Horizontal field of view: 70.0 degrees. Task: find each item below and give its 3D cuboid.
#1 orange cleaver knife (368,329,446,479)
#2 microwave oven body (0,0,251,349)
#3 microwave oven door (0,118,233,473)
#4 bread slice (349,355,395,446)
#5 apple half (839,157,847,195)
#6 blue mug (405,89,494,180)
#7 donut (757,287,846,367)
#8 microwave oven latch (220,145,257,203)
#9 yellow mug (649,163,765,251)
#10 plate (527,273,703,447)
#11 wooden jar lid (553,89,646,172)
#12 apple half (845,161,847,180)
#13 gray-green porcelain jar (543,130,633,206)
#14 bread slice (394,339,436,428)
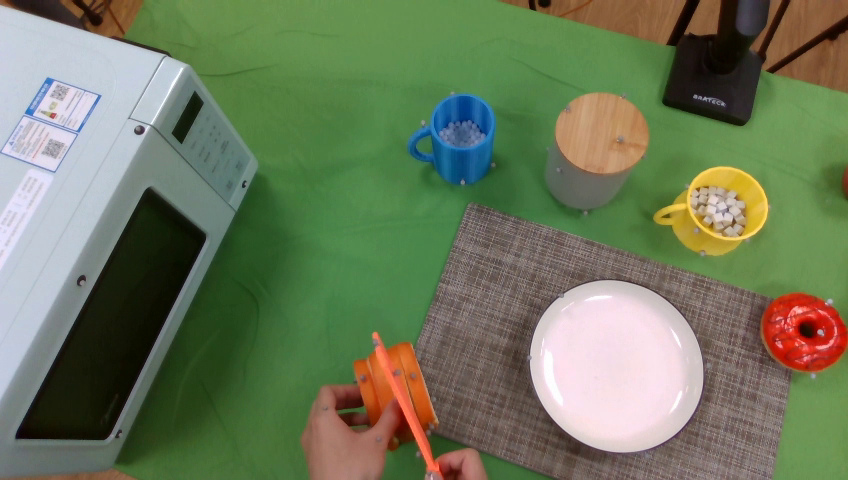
[{"bbox_3d":[-0.007,0.185,0.593,0.012,0.077,0.211,-26,92,-5],"label":"orange cleaver knife"},{"bbox_3d":[-0.461,-0.010,0.704,0.325,0.261,0.440,19,75,8],"label":"microwave oven body"},{"bbox_3d":[-0.341,0.073,0.668,0.039,0.245,0.354,19,74,8],"label":"microwave oven door"},{"bbox_3d":[-0.060,0.181,0.699,0.018,0.135,0.106,-22,71,-8],"label":"bread slice"},{"bbox_3d":[0.561,-0.079,0.781,0.033,0.082,0.080,-12,72,-6],"label":"apple half"},{"bbox_3d":[0.032,-0.136,0.807,0.116,0.106,0.082,-7,72,1],"label":"blue mug"},{"bbox_3d":[0.459,0.106,0.740,0.099,0.048,0.098,-1,73,3],"label":"donut"},{"bbox_3d":[-0.256,-0.093,0.822,0.030,0.029,0.079,22,76,9],"label":"microwave oven latch"},{"bbox_3d":[0.360,-0.040,0.784,0.131,0.064,0.099,-5,73,2],"label":"yellow mug"},{"bbox_3d":[0.229,0.145,0.743,0.207,0.039,0.206,-1,73,3],"label":"plate"},{"bbox_3d":[0.207,-0.128,0.720,0.108,0.021,0.107,-1,71,2],"label":"wooden jar lid"},{"bbox_3d":[0.598,-0.089,0.784,0.053,0.075,0.080,-11,68,-6],"label":"apple half"},{"bbox_3d":[0.210,-0.108,0.780,0.106,0.127,0.105,-1,72,3],"label":"gray-green porcelain jar"},{"bbox_3d":[-0.011,0.165,0.699,0.019,0.132,0.104,-18,75,-5],"label":"bread slice"}]
